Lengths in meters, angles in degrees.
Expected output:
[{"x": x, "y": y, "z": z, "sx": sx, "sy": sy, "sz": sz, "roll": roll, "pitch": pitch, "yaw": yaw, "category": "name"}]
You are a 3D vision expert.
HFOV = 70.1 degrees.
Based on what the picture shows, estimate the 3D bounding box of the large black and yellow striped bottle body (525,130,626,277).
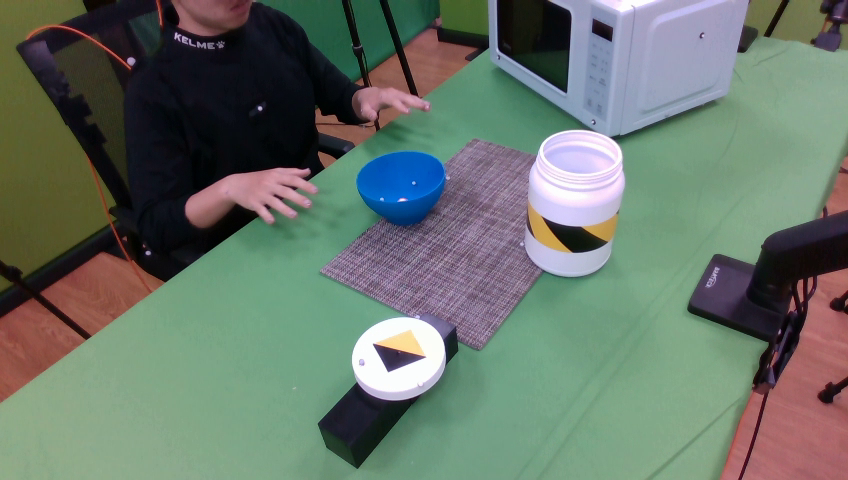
[{"x": 0.216, "y": -0.052, "z": 0.870, "sx": 0.131, "sy": 0.185, "sz": 0.130, "roll": -2, "pitch": 43, "yaw": 2, "category": "large black and yellow striped bottle body"}]

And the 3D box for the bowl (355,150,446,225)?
[{"x": -0.035, "y": -0.078, "z": 1.017, "sx": 0.151, "sy": 0.077, "sz": 0.150, "roll": -4, "pitch": 40, "yaw": 4, "category": "bowl"}]

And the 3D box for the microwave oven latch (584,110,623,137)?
[{"x": 0.337, "y": -0.222, "z": 1.142, "sx": 0.030, "sy": 0.029, "sz": 0.078, "roll": -21, "pitch": 42, "yaw": -14, "category": "microwave oven latch"}]

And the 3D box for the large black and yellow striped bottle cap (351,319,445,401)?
[{"x": -0.031, "y": 0.143, "z": 0.734, "sx": 0.115, "sy": 0.019, "sz": 0.114, "roll": -3, "pitch": 40, "yaw": 3, "category": "large black and yellow striped bottle cap"}]

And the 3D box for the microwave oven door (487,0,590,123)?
[{"x": 0.231, "y": -0.420, "z": 1.230, "sx": 0.039, "sy": 0.245, "sz": 0.352, "roll": -22, "pitch": 43, "yaw": -16, "category": "microwave oven door"}]

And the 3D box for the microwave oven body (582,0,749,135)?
[{"x": 0.382, "y": -0.444, "z": 1.246, "sx": 0.327, "sy": 0.261, "sz": 0.437, "roll": -22, "pitch": 42, "yaw": -16, "category": "microwave oven body"}]
